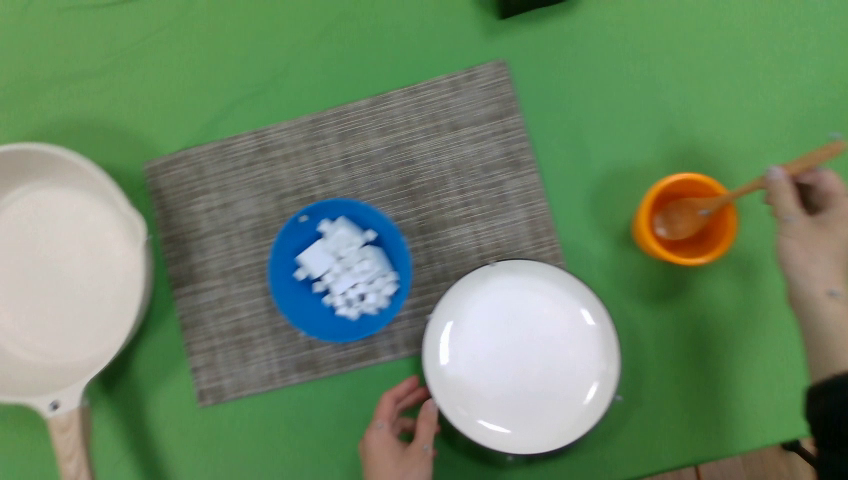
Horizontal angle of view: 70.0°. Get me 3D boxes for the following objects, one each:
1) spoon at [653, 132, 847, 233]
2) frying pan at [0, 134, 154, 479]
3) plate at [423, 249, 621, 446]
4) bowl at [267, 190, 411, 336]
[{"bbox_3d":[0.301,-0.051,0.574,0.022,0.193,0.041,-16,80,-34],"label":"spoon"},{"bbox_3d":[-0.413,0.125,0.674,0.307,0.103,0.485,-19,77,5],"label":"frying pan"},{"bbox_3d":[0.103,0.113,0.655,0.207,0.039,0.207,0,89,5],"label":"plate"},{"bbox_3d":[-0.084,0.026,0.656,0.151,0.077,0.151,0,87,6],"label":"bowl"}]
